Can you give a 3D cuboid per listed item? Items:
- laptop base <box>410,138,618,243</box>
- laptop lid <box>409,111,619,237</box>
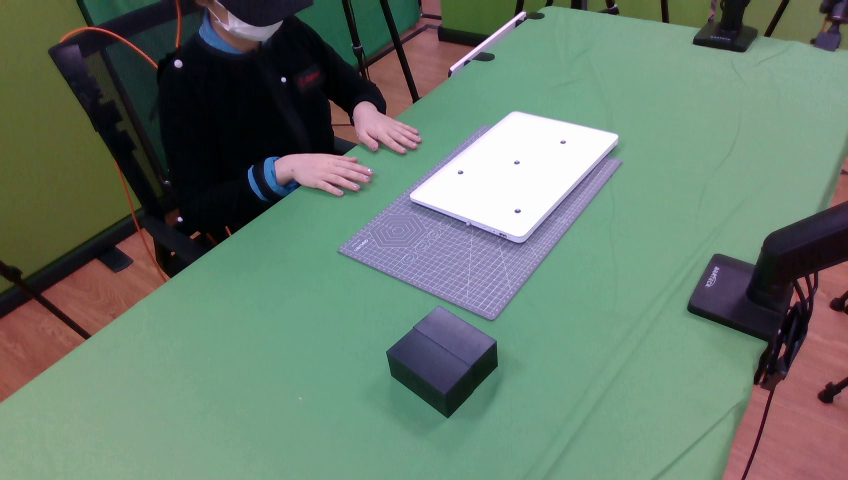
[{"bbox_3d":[0.170,-0.126,1.096,0.233,0.023,0.355,21,47,33],"label":"laptop base"},{"bbox_3d":[0.168,-0.136,1.089,0.239,0.013,0.358,23,48,34],"label":"laptop lid"}]
